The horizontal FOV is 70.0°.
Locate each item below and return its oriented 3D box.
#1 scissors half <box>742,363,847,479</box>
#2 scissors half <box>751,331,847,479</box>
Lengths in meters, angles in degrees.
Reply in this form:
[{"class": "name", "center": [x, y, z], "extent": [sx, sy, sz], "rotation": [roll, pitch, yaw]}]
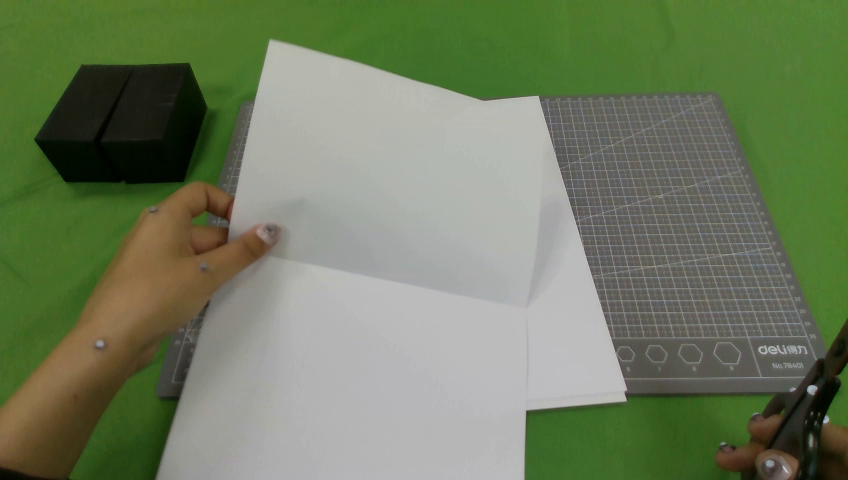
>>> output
[{"class": "scissors half", "center": [0.204, 0.063, 0.304], "extent": [0.012, 0.176, 0.040], "rotation": [25, 33, 19]}, {"class": "scissors half", "center": [0.195, 0.069, 0.287], "extent": [0.013, 0.175, 0.040], "rotation": [22, 16, 15]}]
